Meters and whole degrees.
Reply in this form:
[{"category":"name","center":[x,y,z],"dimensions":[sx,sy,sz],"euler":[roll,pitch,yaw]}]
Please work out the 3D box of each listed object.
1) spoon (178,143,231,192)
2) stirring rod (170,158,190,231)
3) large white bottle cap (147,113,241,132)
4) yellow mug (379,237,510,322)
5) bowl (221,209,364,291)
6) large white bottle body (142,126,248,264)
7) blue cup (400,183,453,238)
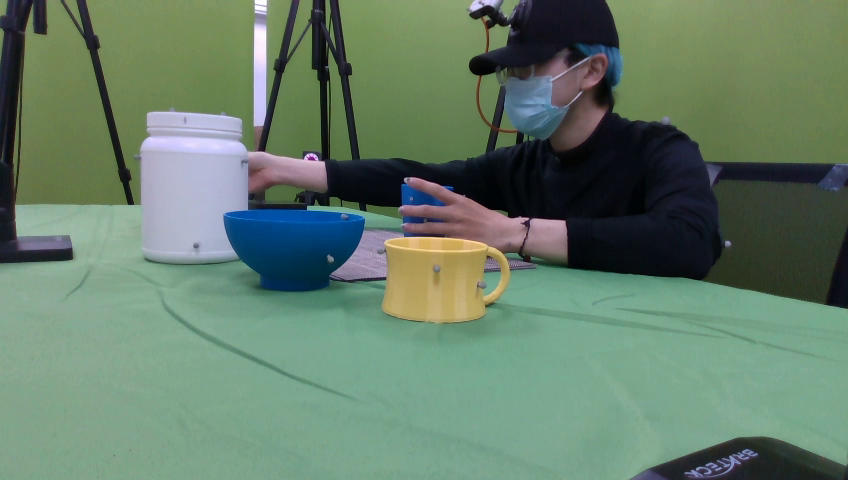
[{"category":"spoon","center":[-0.430,-0.148,1.210],"dimensions":[0.041,0.021,0.193],"euler":[13,42,5]},{"category":"stirring rod","center":[-0.426,-0.083,1.059],"dimensions":[0.014,0.006,0.175],"euler":[2,49,-13]},{"category":"large white bottle cap","center":[-0.297,-0.151,0.786],"dimensions":[0.115,0.018,0.115],"euler":[2,7,0]},{"category":"yellow mug","center":[0.024,0.034,0.575],"dimensions":[0.131,0.064,0.099],"euler":[1,7,-22]},{"category":"bowl","center":[-0.142,0.011,0.660],"dimensions":[0.151,0.077,0.151],"euler":[2,7,0]},{"category":"large white bottle body","center":[-0.300,-0.067,0.797],"dimensions":[0.131,0.184,0.130],"euler":[2,7,0]},{"category":"blue cup","center":[0.002,-0.038,0.967],"dimensions":[0.093,0.100,0.092],"euler":[3,7,0]}]
